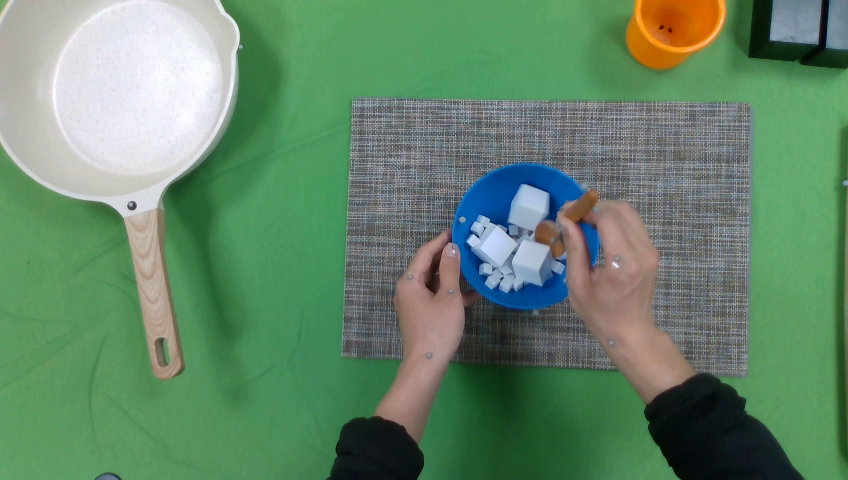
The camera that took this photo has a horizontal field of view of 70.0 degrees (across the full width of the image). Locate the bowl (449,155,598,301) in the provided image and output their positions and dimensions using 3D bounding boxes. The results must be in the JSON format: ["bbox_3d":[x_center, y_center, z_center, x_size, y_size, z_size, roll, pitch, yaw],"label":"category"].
[{"bbox_3d":[0.103,-0.011,0.648,0.151,0.077,0.151,0,88,4],"label":"bowl"}]

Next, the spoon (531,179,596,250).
[{"bbox_3d":[0.125,-0.020,0.550,0.021,0.194,0.041,-33,81,-3],"label":"spoon"}]

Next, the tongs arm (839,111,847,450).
[{"bbox_3d":[0.466,0.050,0.651,0.028,0.028,0.387,1,88,3],"label":"tongs arm"}]

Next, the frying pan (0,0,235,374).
[{"bbox_3d":[-0.325,-0.092,0.673,0.307,0.103,0.485,-15,79,4],"label":"frying pan"}]
